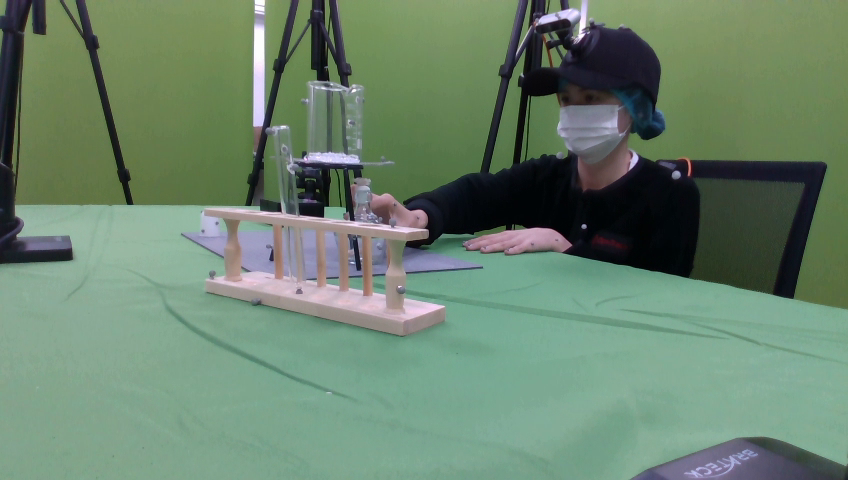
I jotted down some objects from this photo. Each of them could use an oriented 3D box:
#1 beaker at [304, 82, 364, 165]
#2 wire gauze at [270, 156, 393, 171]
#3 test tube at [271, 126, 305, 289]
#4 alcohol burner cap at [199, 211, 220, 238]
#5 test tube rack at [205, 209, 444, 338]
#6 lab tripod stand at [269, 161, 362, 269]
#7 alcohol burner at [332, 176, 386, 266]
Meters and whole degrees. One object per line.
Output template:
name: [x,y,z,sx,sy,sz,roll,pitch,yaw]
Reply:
beaker: [-0.115,-0.148,0.779,0.074,0.100,0.083,-2,10,-30]
wire gauze: [-0.122,-0.100,0.786,0.122,0.011,0.124,-5,14,-38]
test tube: [-0.124,-0.028,0.554,0.017,0.150,0.017,-5,7,1]
alcohol burner cap: [-0.356,-0.027,1.002,0.034,0.048,0.034,2,7,0]
test tube rack: [-0.100,0.021,0.565,0.241,0.085,0.067,7,8,32]
lab tripod stand: [-0.125,-0.036,0.793,0.148,0.131,0.148,5,7,0]
alcohol burner: [-0.084,-0.025,0.806,0.078,0.119,0.078,1,9,0]
